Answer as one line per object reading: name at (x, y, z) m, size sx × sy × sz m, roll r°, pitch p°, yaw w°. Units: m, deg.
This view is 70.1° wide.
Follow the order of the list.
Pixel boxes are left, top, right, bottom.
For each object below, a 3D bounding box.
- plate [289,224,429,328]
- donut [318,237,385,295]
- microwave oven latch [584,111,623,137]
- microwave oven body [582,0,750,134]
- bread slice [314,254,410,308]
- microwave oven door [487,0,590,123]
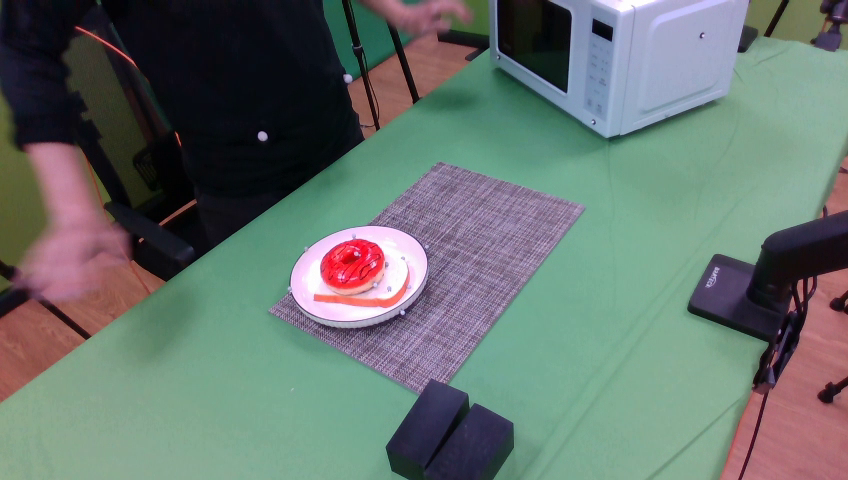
plate at (-0.094, 0.054, 0.902) m, size 0.207 × 0.039 × 0.206 m, roll -4°, pitch 41°, yaw 4°
donut at (-0.105, 0.037, 0.880) m, size 0.099 × 0.048 × 0.098 m, roll -6°, pitch 42°, yaw 6°
microwave oven latch at (0.337, -0.222, 1.142) m, size 0.030 × 0.029 × 0.078 m, roll -21°, pitch 42°, yaw -14°
microwave oven body at (0.382, -0.444, 1.246) m, size 0.327 × 0.261 × 0.437 m, roll -22°, pitch 42°, yaw -16°
bread slice at (-0.086, 0.057, 0.901) m, size 0.131 × 0.019 × 0.104 m, roll 4°, pitch 43°, yaw 15°
microwave oven door at (0.232, -0.420, 1.231) m, size 0.039 × 0.245 × 0.352 m, roll -22°, pitch 43°, yaw -16°
